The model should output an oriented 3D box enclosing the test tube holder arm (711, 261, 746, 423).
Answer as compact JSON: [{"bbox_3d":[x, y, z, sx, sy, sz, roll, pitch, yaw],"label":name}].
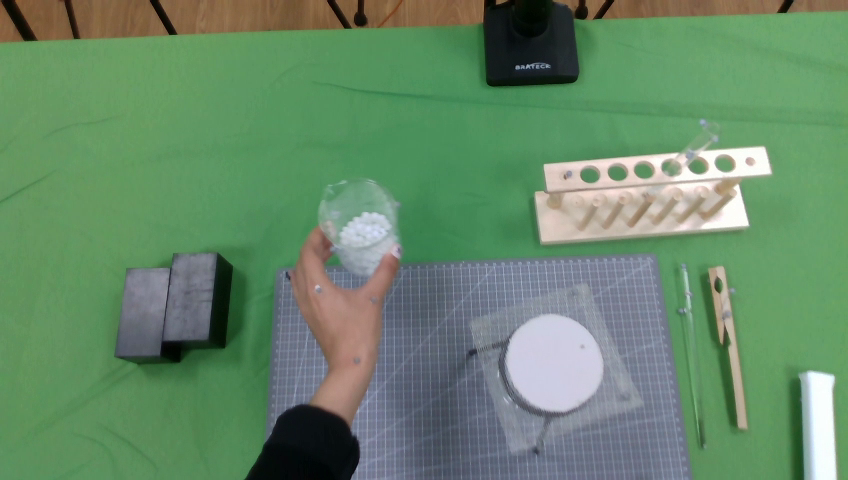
[{"bbox_3d":[0.336,0.110,0.670,0.013,0.015,0.177,-14,68,32],"label":"test tube holder arm"}]

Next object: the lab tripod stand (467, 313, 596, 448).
[{"bbox_3d":[0.109,0.131,0.608,0.148,0.132,0.147,-1,71,4],"label":"lab tripod stand"}]

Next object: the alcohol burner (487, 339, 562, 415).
[{"bbox_3d":[0.104,0.136,0.617,0.078,0.120,0.077,-1,69,3],"label":"alcohol burner"}]

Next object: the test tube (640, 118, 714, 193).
[{"bbox_3d":[0.268,-0.087,0.655,0.017,0.151,0.017,1,70,-4],"label":"test tube"}]

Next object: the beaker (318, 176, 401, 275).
[{"bbox_3d":[-0.062,-0.012,0.607,0.074,0.101,0.083,-43,75,-13],"label":"beaker"}]

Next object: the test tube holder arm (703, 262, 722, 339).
[{"bbox_3d":[0.330,0.069,0.688,0.010,0.015,0.087,-14,68,32],"label":"test tube holder arm"}]

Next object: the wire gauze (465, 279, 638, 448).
[{"bbox_3d":[0.112,0.107,0.545,0.121,0.011,0.124,-18,71,-3],"label":"wire gauze"}]

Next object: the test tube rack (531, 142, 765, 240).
[{"bbox_3d":[0.252,-0.054,0.697,0.242,0.086,0.066,-5,70,0],"label":"test tube rack"}]

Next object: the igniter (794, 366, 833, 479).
[{"bbox_3d":[0.396,0.267,0.612,0.057,0.025,0.275,12,71,-4],"label":"igniter"}]

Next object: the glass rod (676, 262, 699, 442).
[{"bbox_3d":[0.293,0.121,0.675,0.008,0.008,0.198,1,74,2],"label":"glass rod"}]
